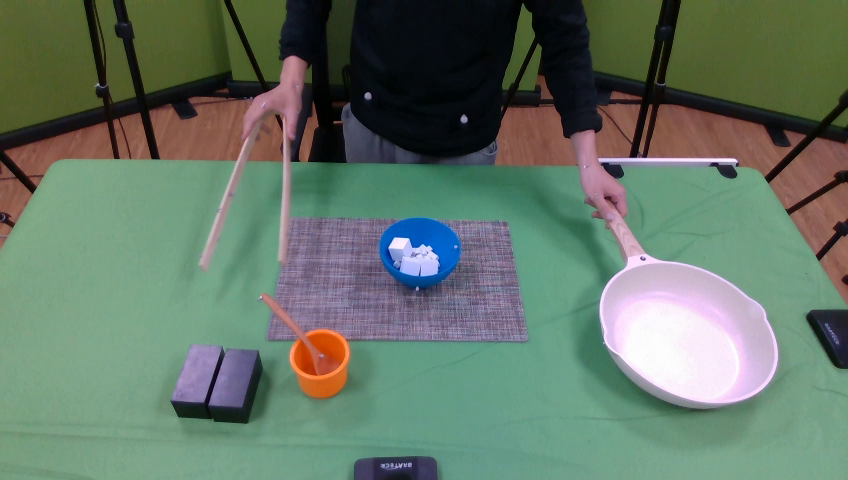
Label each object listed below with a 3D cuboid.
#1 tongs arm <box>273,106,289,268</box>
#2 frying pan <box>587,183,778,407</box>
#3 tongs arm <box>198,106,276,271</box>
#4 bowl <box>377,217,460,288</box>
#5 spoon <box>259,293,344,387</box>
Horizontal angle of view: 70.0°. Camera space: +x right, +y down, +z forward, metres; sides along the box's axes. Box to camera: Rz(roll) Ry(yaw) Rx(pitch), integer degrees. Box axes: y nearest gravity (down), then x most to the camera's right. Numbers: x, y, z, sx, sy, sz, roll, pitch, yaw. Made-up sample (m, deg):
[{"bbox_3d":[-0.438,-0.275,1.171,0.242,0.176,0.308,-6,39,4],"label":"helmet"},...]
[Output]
[{"bbox_3d":[-0.274,-0.114,1.152,0.028,0.028,0.385,-12,56,6],"label":"tongs arm"},{"bbox_3d":[0.412,0.079,1.096,0.307,0.103,0.484,-9,56,-14],"label":"frying pan"},{"bbox_3d":[-0.351,-0.111,1.160,0.051,0.027,0.382,0,57,10],"label":"tongs arm"},{"bbox_3d":[-0.012,0.036,1.118,0.151,0.077,0.150,2,46,-2],"label":"bowl"},{"bbox_3d":[-0.191,0.155,0.947,0.021,0.194,0.041,-12,28,51],"label":"spoon"}]
